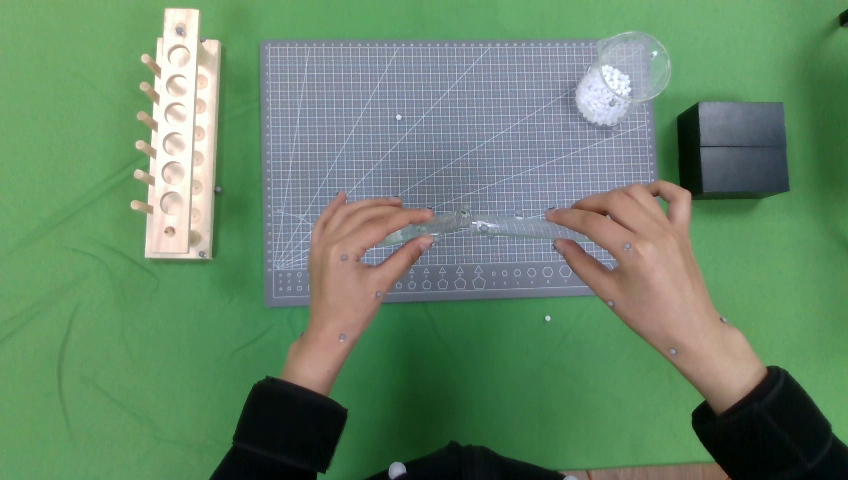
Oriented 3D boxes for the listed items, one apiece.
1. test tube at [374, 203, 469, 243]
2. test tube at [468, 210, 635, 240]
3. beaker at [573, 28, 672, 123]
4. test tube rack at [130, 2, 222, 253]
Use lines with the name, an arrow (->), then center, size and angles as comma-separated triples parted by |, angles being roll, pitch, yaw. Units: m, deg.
test tube -> -0.007, -0.013, 0.534 | 0.017, 0.150, 0.017 | 4, 81, -30
test tube -> 0.106, -0.012, 0.487 | 0.151, 0.017, 0.017 | 3, 84, -20
beaker -> 0.207, -0.175, 0.658 | 0.084, 0.100, 0.074 | 36, 83, 1
test tube rack -> -0.259, -0.110, 0.626 | 0.067, 0.085, 0.241 | 1, 85, -4
